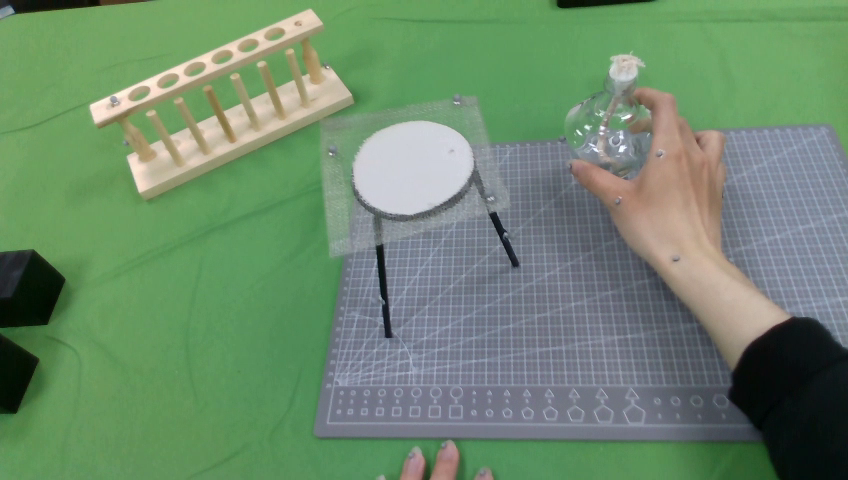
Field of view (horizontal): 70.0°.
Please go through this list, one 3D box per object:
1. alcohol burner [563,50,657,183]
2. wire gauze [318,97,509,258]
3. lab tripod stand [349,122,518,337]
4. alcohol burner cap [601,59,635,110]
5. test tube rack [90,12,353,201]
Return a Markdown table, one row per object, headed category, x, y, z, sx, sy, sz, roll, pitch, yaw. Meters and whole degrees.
| category | x | y | z | sx | sy | sz | roll | pitch | yaw |
| --- | --- | --- | --- | --- | --- | --- | --- | --- | --- |
| alcohol burner | 0.157 | -0.104 | 0.502 | 0.078 | 0.120 | 0.077 | -3 | 53 | 4 |
| wire gauze | -0.012 | -0.051 | 0.422 | 0.121 | 0.011 | 0.124 | -12 | 55 | 1 |
| lab tripod stand | -0.001 | -0.010 | 0.474 | 0.148 | 0.133 | 0.147 | -4 | 56 | 6 |
| alcohol burner cap | 0.198 | -0.159 | 0.610 | 0.034 | 0.048 | 0.033 | -5 | 54 | 7 |
| test tube rack | -0.205 | -0.142 | 0.637 | 0.242 | 0.086 | 0.066 | -28 | 55 | -11 |
